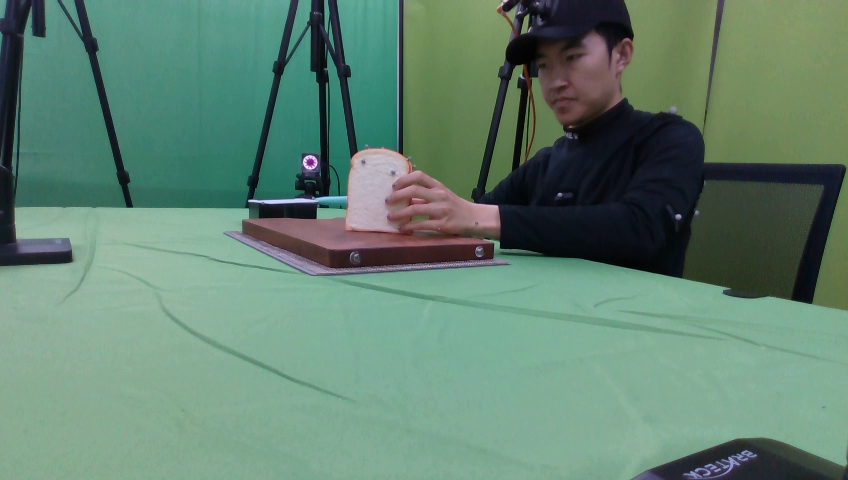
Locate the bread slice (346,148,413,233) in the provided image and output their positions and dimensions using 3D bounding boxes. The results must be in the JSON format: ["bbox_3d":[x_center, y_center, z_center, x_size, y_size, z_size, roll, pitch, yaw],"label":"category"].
[{"bbox_3d":[-0.072,-0.077,0.955,0.107,0.134,0.018,0,8,4],"label":"bread slice"}]

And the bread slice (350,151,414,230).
[{"bbox_3d":[-0.066,-0.083,1.006,0.105,0.131,0.019,5,2,3],"label":"bread slice"}]

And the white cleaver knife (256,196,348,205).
[{"bbox_3d":[-0.257,-0.088,1.306,0.065,0.021,0.288,8,7,30],"label":"white cleaver knife"}]
